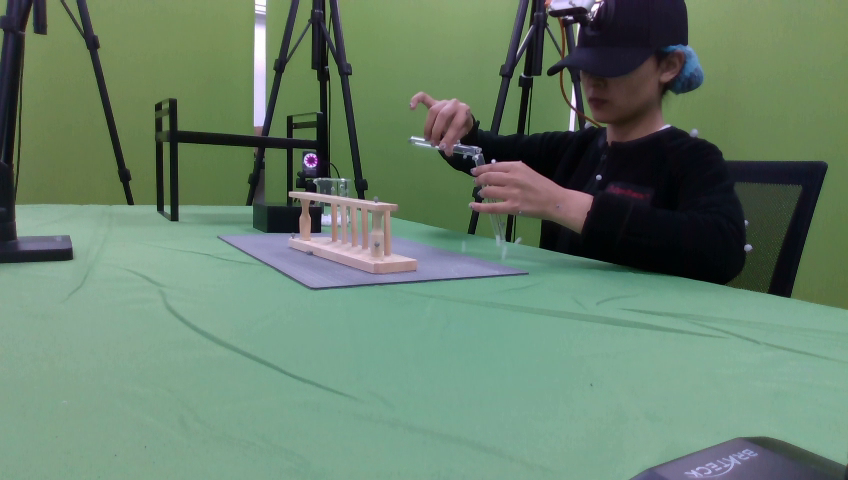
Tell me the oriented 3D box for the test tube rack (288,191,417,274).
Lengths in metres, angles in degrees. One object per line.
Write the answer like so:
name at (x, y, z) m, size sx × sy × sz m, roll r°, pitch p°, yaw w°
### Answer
test tube rack at (-0.106, -0.017, 0.835) m, size 0.067 × 0.085 × 0.241 m, roll -3°, pitch 9°, yaw -37°

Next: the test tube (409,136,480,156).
test tube at (0.031, -0.158, 1.006) m, size 0.149 × 0.017 × 0.017 m, roll 17°, pitch 15°, yaw 39°

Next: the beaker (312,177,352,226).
beaker at (-0.194, -0.081, 1.266) m, size 0.084 × 0.100 × 0.073 m, roll -3°, pitch 9°, yaw -29°

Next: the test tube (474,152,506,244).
test tube at (0.104, -0.066, 0.951) m, size 0.017 × 0.150 × 0.017 m, roll -14°, pitch -6°, yaw -1°
